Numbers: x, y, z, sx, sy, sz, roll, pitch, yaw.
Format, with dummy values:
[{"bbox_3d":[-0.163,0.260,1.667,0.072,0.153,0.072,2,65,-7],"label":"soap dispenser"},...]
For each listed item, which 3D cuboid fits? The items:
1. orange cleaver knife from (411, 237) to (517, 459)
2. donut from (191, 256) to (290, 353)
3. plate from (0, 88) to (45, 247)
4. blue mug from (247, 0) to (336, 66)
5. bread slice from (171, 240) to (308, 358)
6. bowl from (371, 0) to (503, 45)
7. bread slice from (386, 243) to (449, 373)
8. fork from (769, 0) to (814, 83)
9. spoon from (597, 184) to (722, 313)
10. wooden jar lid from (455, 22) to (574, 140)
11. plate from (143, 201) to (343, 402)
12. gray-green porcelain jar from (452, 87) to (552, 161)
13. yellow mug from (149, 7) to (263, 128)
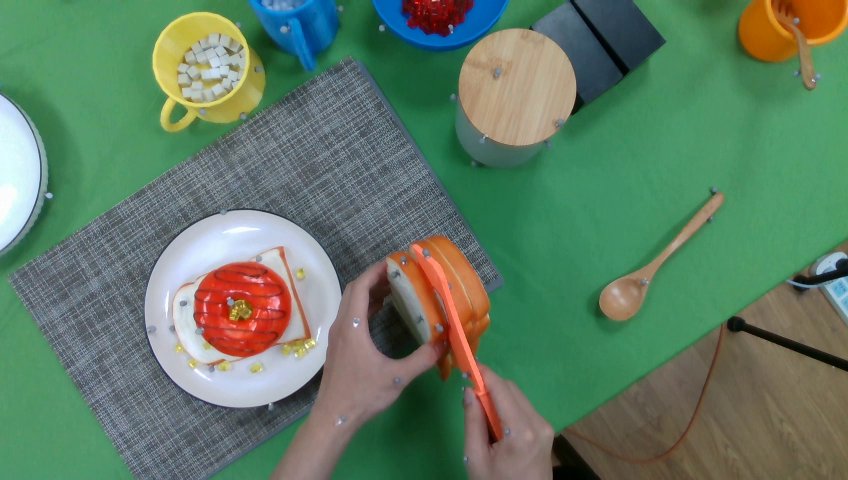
[{"bbox_3d":[0.034,0.096,0.542,0.012,0.077,0.212,-24,100,-12],"label":"orange cleaver knife"},{"bbox_3d":[-0.186,0.065,0.618,0.099,0.048,0.099,0,88,-4],"label":"donut"},{"bbox_3d":[-0.509,-0.076,0.651,0.208,0.039,0.207,0,88,-1],"label":"plate"},{"bbox_3d":[-0.137,-0.241,0.630,0.082,0.106,0.116,-13,87,-1],"label":"blue mug"},{"bbox_3d":[-0.201,0.070,0.649,0.131,0.019,0.104,-21,87,-6],"label":"bread slice"},{"bbox_3d":[0.013,-0.273,0.647,0.151,0.077,0.151,0,88,0],"label":"bowl"},{"bbox_3d":[-0.007,0.061,0.593,0.018,0.135,0.106,-26,60,-11],"label":"bread slice"},{"bbox_3d":[0.374,-0.213,0.614,0.028,0.019,0.206,29,43,-6],"label":"fork"},{"bbox_3d":[0.263,0.007,0.666,0.193,0.022,0.041,-45,71,-2],"label":"spoon"},{"bbox_3d":[0.082,-0.144,0.556,0.108,0.020,0.108,0,89,-4],"label":"wooden jar lid"},{"bbox_3d":[-0.188,0.065,0.646,0.209,0.038,0.209,0,87,0],"label":"plate"},{"bbox_3d":[0.082,-0.140,0.619,0.106,0.126,0.105,0,87,-1],"label":"gray-green porcelain jar"},{"bbox_3d":[-0.239,-0.174,0.645,0.100,0.064,0.131,35,89,2],"label":"yellow mug"}]
